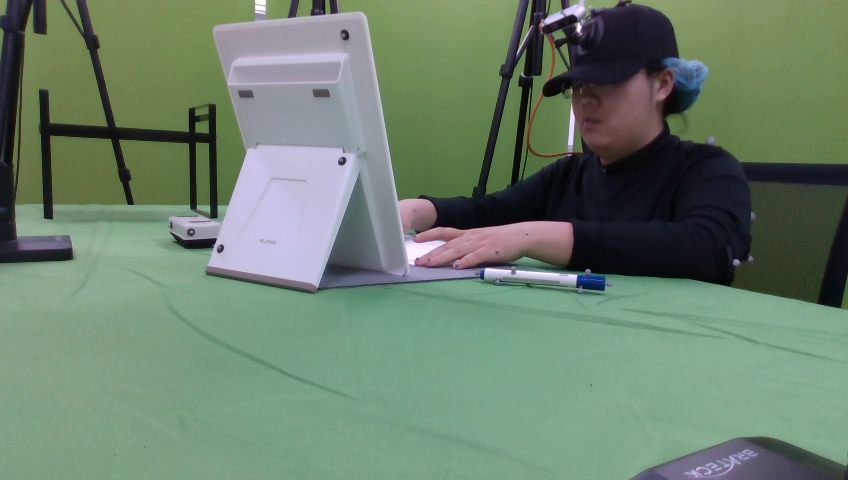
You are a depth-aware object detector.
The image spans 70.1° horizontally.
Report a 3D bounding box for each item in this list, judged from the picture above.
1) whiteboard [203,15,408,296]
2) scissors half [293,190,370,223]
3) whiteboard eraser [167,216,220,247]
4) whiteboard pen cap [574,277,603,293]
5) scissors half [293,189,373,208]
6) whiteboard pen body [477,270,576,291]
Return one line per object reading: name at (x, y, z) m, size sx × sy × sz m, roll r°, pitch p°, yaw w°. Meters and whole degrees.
whiteboard at (-0.166, -0.072, 0.669) m, size 0.216 × 0.305 × 0.144 m, roll 8°, pitch 30°, yaw 30°
scissors half at (-0.205, -0.077, 1.338) m, size 0.175 × 0.040 × 0.013 m, roll 22°, pitch 12°, yaw -8°
whiteboard eraser at (-0.350, -0.013, 0.920) m, size 0.056 × 0.042 × 0.112 m, roll 0°, pitch 7°, yaw -35°
whiteboard pen cap at (0.186, 0.051, 0.687) m, size 0.033 × 0.018 × 0.018 m, roll 4°, pitch 8°, yaw 17°
scissors half at (-0.201, -0.096, 1.332) m, size 0.175 × 0.040 × 0.013 m, roll 4°, pitch 19°, yaw -4°
whiteboard pen body at (0.131, 0.048, 0.706) m, size 0.140 × 0.017 × 0.017 m, roll 4°, pitch 8°, yaw 18°
